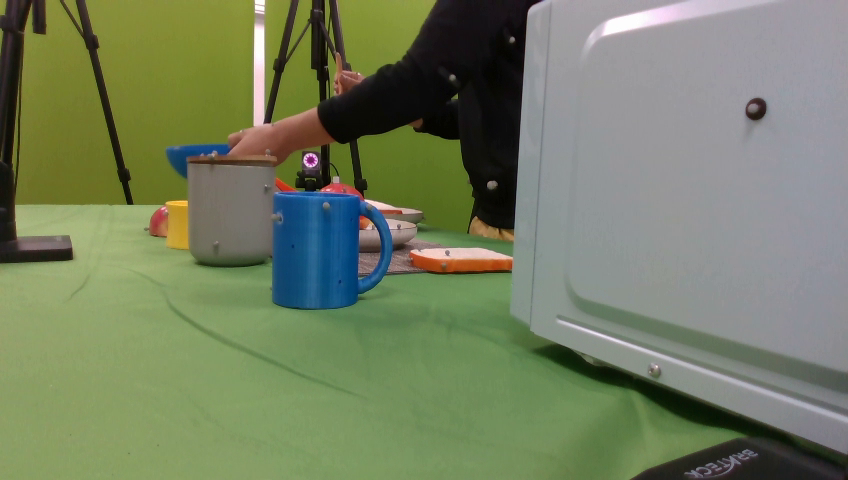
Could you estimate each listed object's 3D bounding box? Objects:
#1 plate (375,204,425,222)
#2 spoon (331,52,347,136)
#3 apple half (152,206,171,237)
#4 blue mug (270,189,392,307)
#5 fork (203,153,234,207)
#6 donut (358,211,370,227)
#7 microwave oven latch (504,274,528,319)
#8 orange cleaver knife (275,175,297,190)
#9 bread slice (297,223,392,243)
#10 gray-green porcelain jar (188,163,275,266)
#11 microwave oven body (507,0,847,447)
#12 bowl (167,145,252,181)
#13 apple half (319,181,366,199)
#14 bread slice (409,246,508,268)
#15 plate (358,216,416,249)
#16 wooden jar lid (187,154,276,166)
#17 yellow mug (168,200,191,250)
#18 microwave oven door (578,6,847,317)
[{"bbox_3d":[-0.102,-0.053,1.299,0.209,0.038,0.209,2,8,0],"label":"plate"},{"bbox_3d":[-0.177,-0.306,1.264,0.021,0.193,0.042,-12,-17,42],"label":"spoon"},{"bbox_3d":[-0.415,-0.034,1.017,0.081,0.053,0.074,1,10,-8],"label":"apple half"},{"bbox_3d":[-0.089,0.005,0.588,0.117,0.106,0.082,1,7,-10],"label":"blue mug"},{"bbox_3d":[-0.480,-0.135,1.411,0.028,0.018,0.207,1,-34,0],"label":"fork"},{"bbox_3d":[-0.132,-0.041,0.959,0.099,0.048,0.099,3,8,0],"label":"donut"},{"bbox_3d":[0.100,0.041,0.470,0.079,0.029,0.030,-1,7,-27],"label":"microwave oven latch"},{"bbox_3d":[-0.283,-0.087,1.343,0.212,0.077,0.012,24,-16,-41],"label":"orange cleaver knife"},{"bbox_3d":[-0.121,-0.013,0.970,0.106,0.018,0.135,10,11,41],"label":"bread slice"},{"bbox_3d":[-0.246,-0.034,0.780,0.106,0.126,0.106,2,7,0],"label":"gray-green porcelain jar"},{"bbox_3d":[0.331,-0.042,0.425,0.444,0.260,0.324,-2,8,-31],"label":"microwave oven body"},{"bbox_3d":[-0.400,-0.136,1.140,0.151,0.077,0.151,-1,13,1],"label":"bowl"},{"bbox_3d":[-0.130,-0.077,0.952,0.081,0.033,0.081,3,15,0],"label":"apple half"},{"bbox_3d":[0.048,0.021,0.816,0.132,0.019,0.104,0,6,-24],"label":"bread slice"},{"bbox_3d":[-0.116,-0.014,0.967,0.208,0.039,0.207,2,7,0],"label":"plate"},{"bbox_3d":[-0.244,-0.097,0.771,0.108,0.020,0.108,-1,7,0],"label":"wooden jar lid"},{"bbox_3d":[-0.320,-0.022,0.904,0.130,0.064,0.100,8,10,36],"label":"yellow mug"},{"bbox_3d":[0.294,-0.067,0.570,0.358,0.243,0.039,-3,9,-31],"label":"microwave oven door"}]
